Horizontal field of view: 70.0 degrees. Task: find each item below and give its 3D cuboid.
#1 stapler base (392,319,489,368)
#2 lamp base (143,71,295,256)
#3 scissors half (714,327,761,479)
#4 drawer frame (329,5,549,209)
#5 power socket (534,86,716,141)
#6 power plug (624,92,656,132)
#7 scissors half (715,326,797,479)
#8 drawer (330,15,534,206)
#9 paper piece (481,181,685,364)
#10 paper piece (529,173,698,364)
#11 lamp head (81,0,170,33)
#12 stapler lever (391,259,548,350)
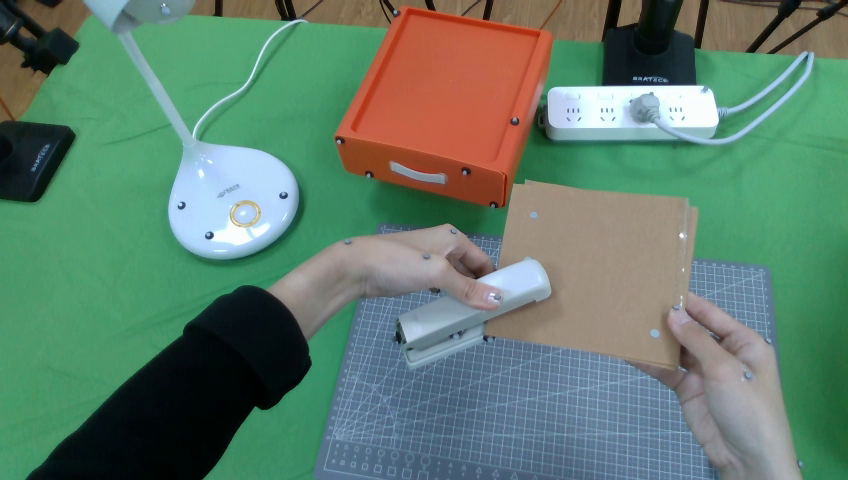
[{"bbox_3d":[0.037,0.053,0.457,0.130,0.025,0.041,-23,57,2],"label":"stapler base"},{"bbox_3d":[-0.255,-0.096,0.694,0.177,0.182,0.160,38,69,25],"label":"lamp base"},{"bbox_3d":[0.301,0.165,0.597,0.040,0.013,0.173,10,58,0],"label":"scissors half"},{"bbox_3d":[0.023,-0.163,0.721,0.201,0.083,0.212,14,64,12],"label":"drawer frame"},{"bbox_3d":[0.258,-0.163,0.779,0.226,0.033,0.071,1,61,5],"label":"power socket"},{"bbox_3d":[0.263,-0.150,0.745,0.035,0.053,0.072,11,62,10],"label":"power plug"},{"bbox_3d":[0.321,0.165,0.598,0.040,0.013,0.173,-8,59,-4],"label":"scissors half"},{"bbox_3d":[0.022,-0.159,0.716,0.194,0.074,0.210,14,62,13],"label":"drawer"},{"bbox_3d":[0.121,0.017,0.455,0.135,0.009,0.137,6,66,18],"label":"paper piece"},{"bbox_3d":[0.129,0.015,0.461,0.135,0.004,0.135,14,64,19],"label":"paper piece"},{"bbox_3d":[-0.229,-0.229,0.434,0.123,0.112,0.112,46,68,-16],"label":"lamp head"},{"bbox_3d":[0.034,0.046,0.443,0.118,0.040,0.026,-17,56,-6],"label":"stapler lever"}]
